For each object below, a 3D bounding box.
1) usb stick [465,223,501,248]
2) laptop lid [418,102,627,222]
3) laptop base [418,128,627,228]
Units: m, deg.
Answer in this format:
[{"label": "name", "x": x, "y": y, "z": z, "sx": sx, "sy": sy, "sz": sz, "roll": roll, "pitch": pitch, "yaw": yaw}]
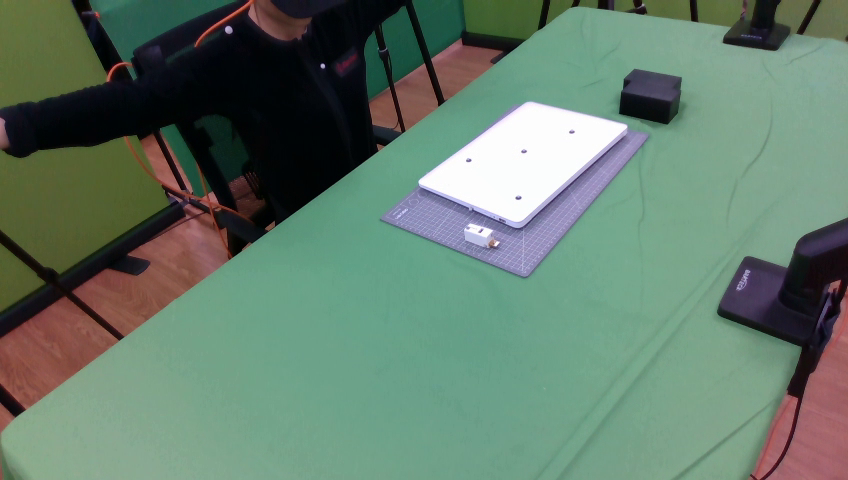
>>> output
[{"label": "usb stick", "x": 0.094, "y": -0.005, "z": 0.962, "sx": 0.059, "sy": 0.027, "sz": 0.021, "roll": 23, "pitch": 49, "yaw": 29}, {"label": "laptop lid", "x": 0.185, "y": -0.161, "z": 1.121, "sx": 0.239, "sy": 0.013, "sz": 0.358, "roll": 26, "pitch": 51, "yaw": 37}, {"label": "laptop base", "x": 0.189, "y": -0.151, "z": 1.127, "sx": 0.233, "sy": 0.023, "sz": 0.355, "roll": 24, "pitch": 50, "yaw": 37}]
